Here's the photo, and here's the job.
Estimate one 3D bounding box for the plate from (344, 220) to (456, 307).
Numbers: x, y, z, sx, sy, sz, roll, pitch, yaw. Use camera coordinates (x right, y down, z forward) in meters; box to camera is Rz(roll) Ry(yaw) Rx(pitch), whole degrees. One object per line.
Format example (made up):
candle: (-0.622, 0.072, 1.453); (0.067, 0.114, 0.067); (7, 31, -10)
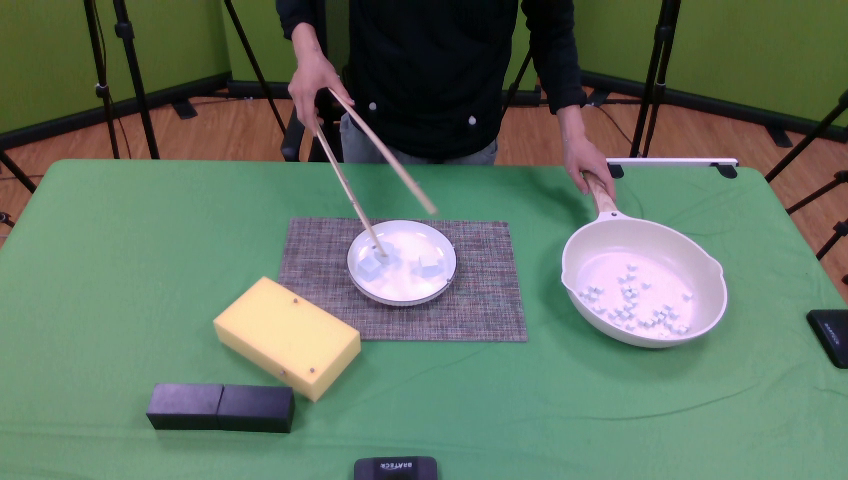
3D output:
plate: (-0.044, 0.047, 1.133); (0.208, 0.039, 0.206); (3, 46, -2)

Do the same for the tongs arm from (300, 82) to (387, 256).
tongs arm: (-0.145, -0.139, 1.122); (0.051, 0.026, 0.383); (-37, 68, 13)

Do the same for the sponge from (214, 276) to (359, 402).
sponge: (-0.225, 0.158, 0.998); (0.206, 0.061, 0.118); (27, 52, 18)

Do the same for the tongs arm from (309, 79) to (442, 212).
tongs arm: (-0.093, -0.181, 1.109); (0.028, 0.028, 0.385); (-47, 67, 12)

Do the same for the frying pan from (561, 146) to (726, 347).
frying pan: (0.378, -0.005, 1.175); (0.307, 0.103, 0.484); (-4, 55, -9)
